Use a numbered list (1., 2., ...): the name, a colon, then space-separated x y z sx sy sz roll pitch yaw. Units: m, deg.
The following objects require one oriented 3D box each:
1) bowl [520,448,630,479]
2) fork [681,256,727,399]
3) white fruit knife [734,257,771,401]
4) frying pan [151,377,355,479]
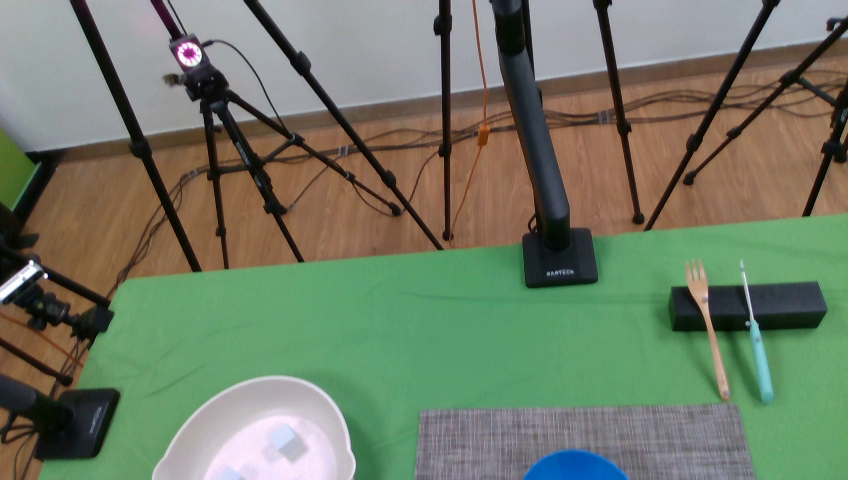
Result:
1. bowl: 0.190 0.346 0.754 0.151 0.077 0.150 -7 51 9
2. fork: 0.405 0.124 0.873 0.028 0.019 0.206 -8 71 4
3. white fruit knife: 0.462 0.121 0.859 0.016 0.028 0.206 -8 68 16
4. frying pan: -0.247 0.416 0.800 0.306 0.104 0.483 -6 43 11
